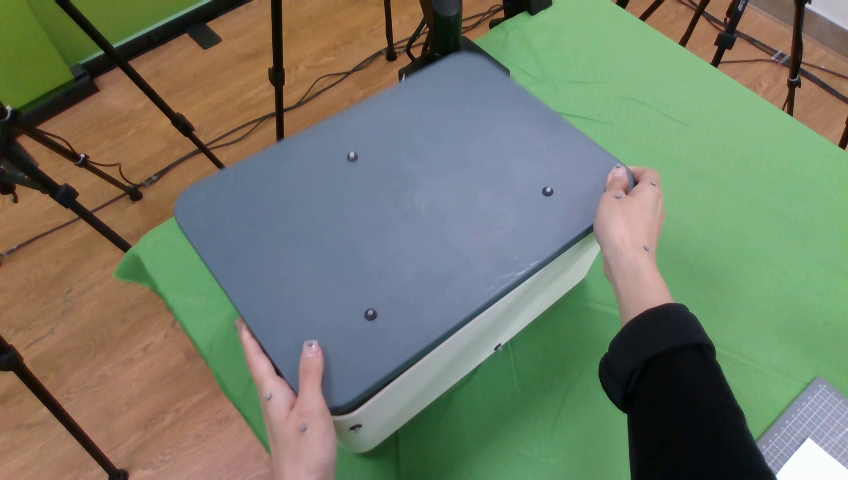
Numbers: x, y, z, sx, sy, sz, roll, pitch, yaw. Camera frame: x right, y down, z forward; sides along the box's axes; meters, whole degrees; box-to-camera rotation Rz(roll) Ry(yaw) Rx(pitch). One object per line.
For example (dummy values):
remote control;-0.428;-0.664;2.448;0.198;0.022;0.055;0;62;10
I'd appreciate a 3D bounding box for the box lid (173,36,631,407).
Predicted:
box lid;-0.014;-0.048;0.565;0.371;0.015;0.261;-34;66;-19

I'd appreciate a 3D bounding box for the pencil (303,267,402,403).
pencil;-0.080;0.101;0.664;0.012;0.012;0.192;-32;66;-18

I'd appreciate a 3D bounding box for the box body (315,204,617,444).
box body;-0.012;0.005;0.640;0.364;0.162;0.252;-35;64;-19
